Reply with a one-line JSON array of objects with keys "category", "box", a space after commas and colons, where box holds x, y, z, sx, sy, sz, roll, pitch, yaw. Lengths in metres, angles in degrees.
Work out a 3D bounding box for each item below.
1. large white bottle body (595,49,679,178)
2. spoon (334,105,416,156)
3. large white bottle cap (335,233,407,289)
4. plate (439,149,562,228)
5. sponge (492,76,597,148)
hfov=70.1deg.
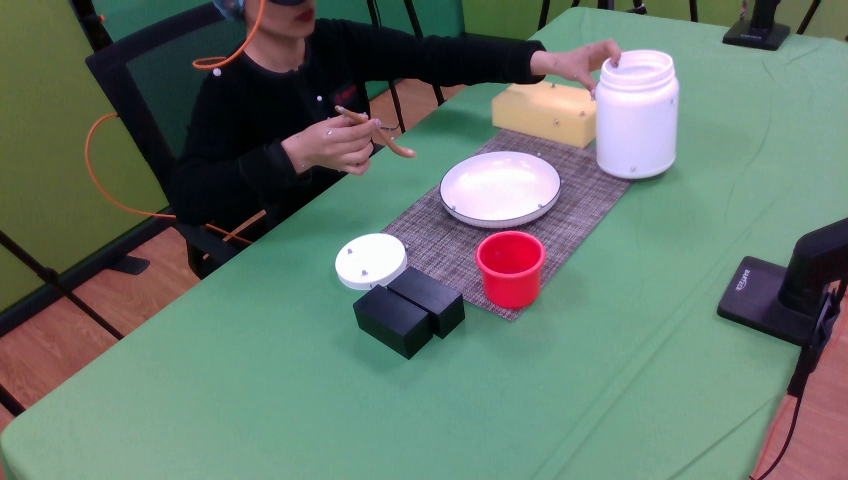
[{"category": "large white bottle body", "box": [0.358, -0.213, 1.021, 0.130, 0.185, 0.130, -9, 36, 7]}, {"category": "spoon", "box": [-0.072, -0.167, 0.928, 0.041, 0.195, 0.021, 37, 95, 35]}, {"category": "large white bottle cap", "box": [-0.085, 0.032, 0.961, 0.115, 0.018, 0.114, -6, 42, 6]}, {"category": "plate", "box": [0.131, -0.085, 1.040, 0.209, 0.038, 0.208, -5, 40, 5]}, {"category": "sponge", "box": [0.254, -0.259, 1.207, 0.205, 0.061, 0.118, 22, 47, 31]}]
